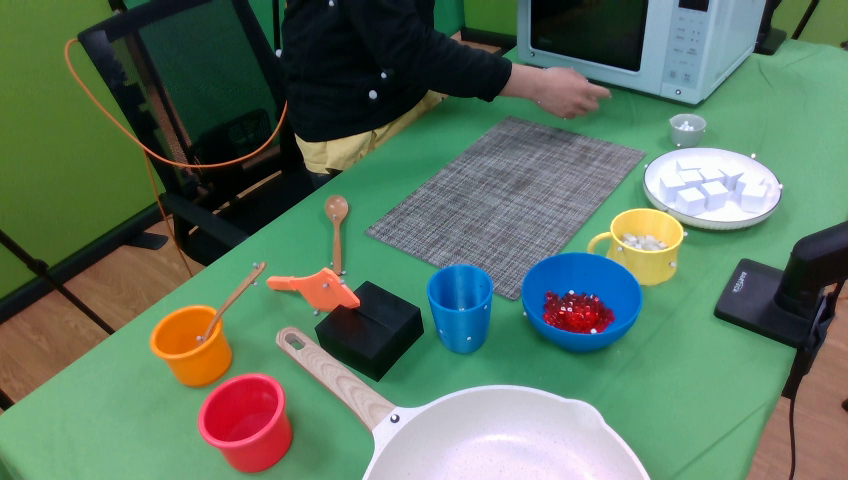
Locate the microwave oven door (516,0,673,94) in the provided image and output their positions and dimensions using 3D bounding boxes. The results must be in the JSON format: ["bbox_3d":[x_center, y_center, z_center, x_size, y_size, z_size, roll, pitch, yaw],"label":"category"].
[{"bbox_3d":[0.345,-0.458,1.257,0.353,0.245,0.039,26,52,33],"label":"microwave oven door"}]

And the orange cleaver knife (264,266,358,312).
[{"bbox_3d":[-0.165,0.073,0.864,0.210,0.077,0.012,-6,31,49],"label":"orange cleaver knife"}]

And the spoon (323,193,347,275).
[{"bbox_3d":[-0.148,-0.014,1.008,0.042,0.022,0.192,1,40,-9],"label":"spoon"}]

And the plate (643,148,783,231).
[{"bbox_3d":[0.464,-0.080,0.986,0.207,0.039,0.206,-4,41,4],"label":"plate"}]

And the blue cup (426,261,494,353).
[{"bbox_3d":[0.049,0.095,0.791,0.092,0.100,0.092,-3,42,3],"label":"blue cup"}]

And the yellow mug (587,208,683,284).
[{"bbox_3d":[0.305,0.009,0.884,0.131,0.064,0.099,-4,41,5],"label":"yellow mug"}]

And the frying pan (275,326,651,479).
[{"bbox_3d":[0.003,0.229,0.641,0.484,0.103,0.308,34,54,28],"label":"frying pan"}]

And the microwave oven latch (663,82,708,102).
[{"bbox_3d":[0.518,-0.299,1.203,0.078,0.029,0.030,30,53,36],"label":"microwave oven latch"}]

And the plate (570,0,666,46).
[{"bbox_3d":[0.436,-0.488,1.368,0.209,0.038,0.208,-4,40,4],"label":"plate"}]

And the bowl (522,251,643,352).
[{"bbox_3d":[0.204,0.093,0.792,0.151,0.077,0.150,-4,40,4],"label":"bowl"}]

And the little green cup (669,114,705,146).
[{"bbox_3d":[0.485,-0.203,1.123,0.061,0.039,0.061,-5,40,4],"label":"little green cup"}]

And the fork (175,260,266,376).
[{"bbox_3d":[-0.268,0.103,0.792,0.207,0.019,0.028,-51,41,16],"label":"fork"}]

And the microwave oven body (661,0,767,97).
[{"bbox_3d":[0.473,-0.516,1.313,0.438,0.261,0.327,26,51,34],"label":"microwave oven body"}]

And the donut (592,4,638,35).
[{"bbox_3d":[0.428,-0.493,1.352,0.099,0.048,0.098,-7,41,7],"label":"donut"}]
